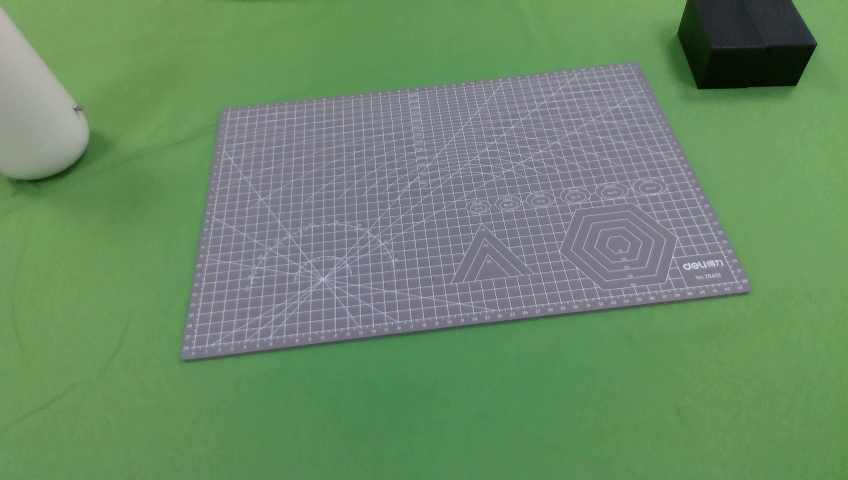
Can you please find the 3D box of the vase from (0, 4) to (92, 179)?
[{"bbox_3d":[-0.389,-0.150,0.546,0.098,0.202,0.097,-2,51,2],"label":"vase"}]

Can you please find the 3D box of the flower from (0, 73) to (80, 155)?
[{"bbox_3d":[-0.415,-0.202,0.485,0.038,0.366,0.044,12,58,35],"label":"flower"}]
